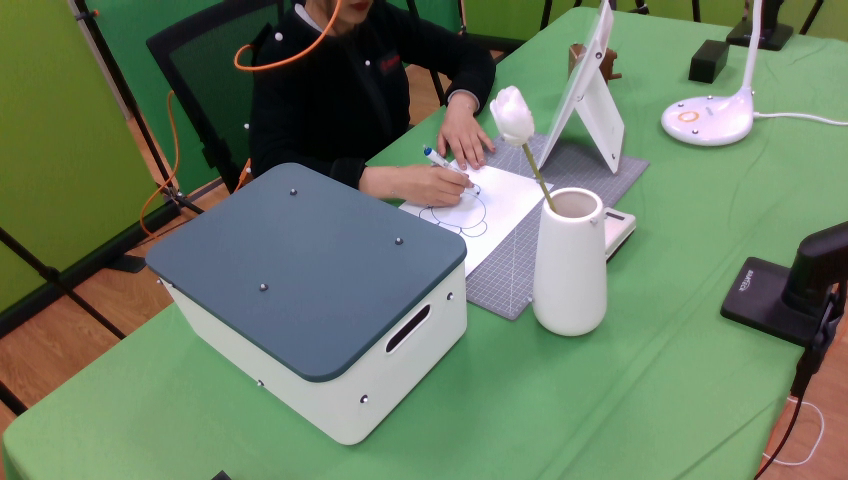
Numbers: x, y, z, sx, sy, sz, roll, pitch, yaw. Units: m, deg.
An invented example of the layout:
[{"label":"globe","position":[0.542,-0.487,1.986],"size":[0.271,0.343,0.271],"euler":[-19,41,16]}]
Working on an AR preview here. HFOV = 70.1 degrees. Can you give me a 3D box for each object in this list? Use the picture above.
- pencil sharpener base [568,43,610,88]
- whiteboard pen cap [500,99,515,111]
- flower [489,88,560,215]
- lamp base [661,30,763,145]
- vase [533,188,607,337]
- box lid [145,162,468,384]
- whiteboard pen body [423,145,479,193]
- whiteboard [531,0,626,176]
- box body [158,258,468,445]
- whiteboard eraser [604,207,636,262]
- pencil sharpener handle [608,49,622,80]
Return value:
[{"label":"pencil sharpener base","position":[0.345,-0.352,1.263],"size":[0.077,0.107,0.061],"euler":[-9,40,1]},{"label":"whiteboard pen cap","position":[0.177,-0.287,1.290],"size":[0.033,0.018,0.018],"euler":[-37,47,-26]},{"label":"flower","position":[0.158,-0.027,0.720],"size":[0.038,0.364,0.044],"euler":[-14,44,23]},{"label":"lamp base","position":[0.535,-0.287,1.096],"size":[0.179,0.181,0.159],"euler":[-10,40,-4]},{"label":"vase","position":[0.187,0.033,0.771],"size":[0.098,0.201,0.097],"euler":[-6,41,6]},{"label":"box lid","position":[-0.157,0.014,0.769],"size":[0.368,0.015,0.264],"euler":[25,51,33]},{"label":"whiteboard pen body","position":[0.050,-0.117,1.033],"size":[0.017,0.142,0.017],"euler":[-29,43,32]},{"label":"whiteboard","position":[0.320,-0.259,1.050],"size":[0.144,0.306,0.217],"euler":[22,45,6]},{"label":"box body","position":[-0.147,0.072,0.816],"size":[0.361,0.161,0.255],"euler":[24,50,33]},{"label":"whiteboard eraser","position":[0.272,-0.003,0.919],"size":[0.055,0.042,0.113],"euler":[27,51,32]},{"label":"pencil sharpener handle","position":[0.394,-0.367,1.253],"size":[0.030,0.068,0.036],"euler":[-9,32,1]}]
